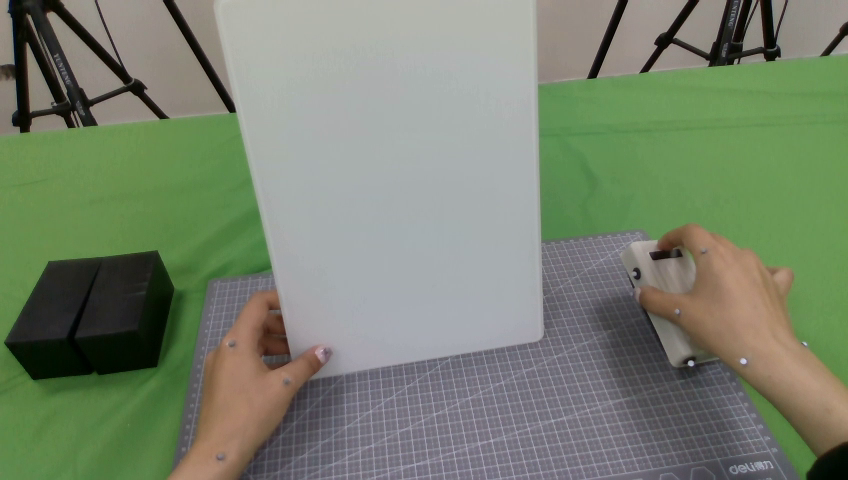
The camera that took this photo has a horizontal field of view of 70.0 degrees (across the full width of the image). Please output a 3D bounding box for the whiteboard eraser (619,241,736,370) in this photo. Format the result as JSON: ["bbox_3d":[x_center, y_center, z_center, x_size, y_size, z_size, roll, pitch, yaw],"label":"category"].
[{"bbox_3d":[0.215,0.055,0.523,0.056,0.042,0.111,-5,56,-17],"label":"whiteboard eraser"}]

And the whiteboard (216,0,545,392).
[{"bbox_3d":[-0.023,-0.054,0.521,0.217,0.307,0.142,-8,22,-5],"label":"whiteboard"}]
